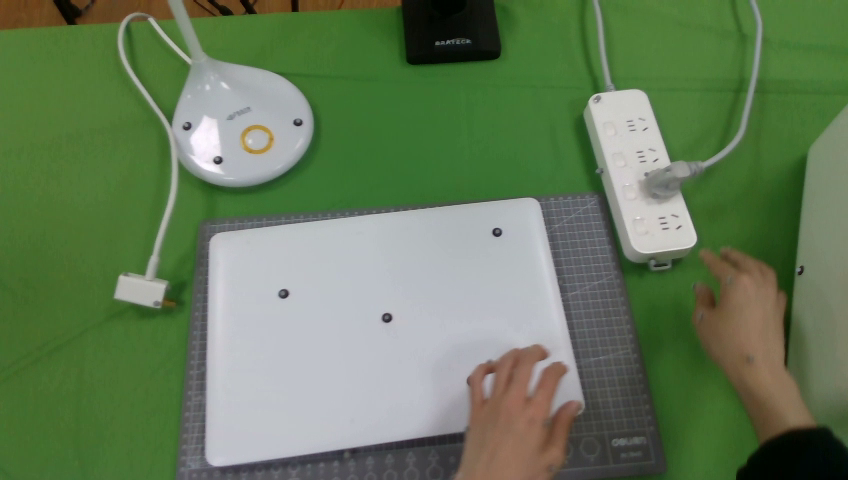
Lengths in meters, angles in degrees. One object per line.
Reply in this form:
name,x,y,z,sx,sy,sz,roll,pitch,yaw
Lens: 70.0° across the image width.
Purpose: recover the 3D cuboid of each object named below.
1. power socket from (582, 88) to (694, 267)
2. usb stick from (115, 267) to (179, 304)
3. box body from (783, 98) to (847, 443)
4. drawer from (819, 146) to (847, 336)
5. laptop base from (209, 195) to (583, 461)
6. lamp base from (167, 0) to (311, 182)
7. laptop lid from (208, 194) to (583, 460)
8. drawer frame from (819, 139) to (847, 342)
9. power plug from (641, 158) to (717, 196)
power socket,0.237,-0.079,0.681,0.072,0.033,0.225,-6,65,-5
usb stick,-0.277,0.048,0.614,0.059,0.021,0.027,19,94,-17
box body,0.503,0.029,0.562,0.254,0.161,0.362,17,66,7
drawer,0.514,0.012,0.601,0.194,0.074,0.210,15,70,6
laptop base,-0.036,0.078,0.613,0.355,0.023,0.233,-7,69,-4
lamp base,-0.221,-0.178,0.639,0.160,0.181,0.178,-42,69,-18
laptop lid,-0.036,0.075,0.602,0.357,0.013,0.240,-5,68,-3
drawer frame,0.510,0.018,0.602,0.201,0.083,0.212,16,61,5
power plug,0.270,-0.063,0.649,0.072,0.053,0.035,4,64,-1
